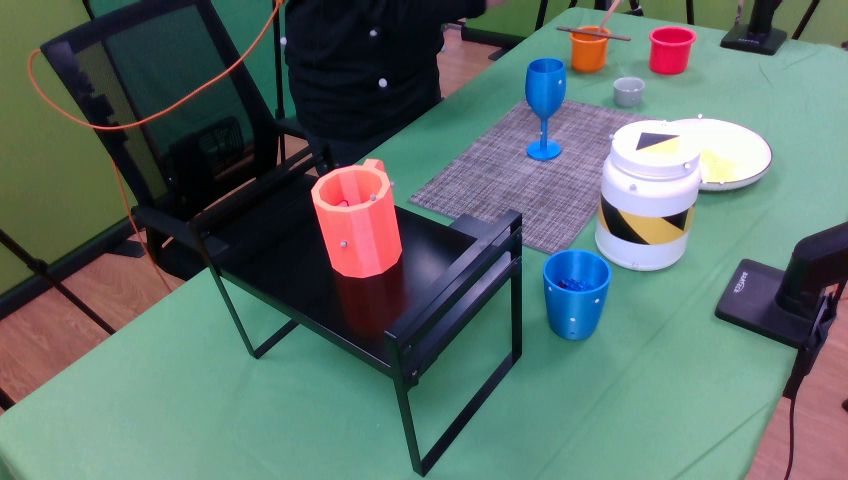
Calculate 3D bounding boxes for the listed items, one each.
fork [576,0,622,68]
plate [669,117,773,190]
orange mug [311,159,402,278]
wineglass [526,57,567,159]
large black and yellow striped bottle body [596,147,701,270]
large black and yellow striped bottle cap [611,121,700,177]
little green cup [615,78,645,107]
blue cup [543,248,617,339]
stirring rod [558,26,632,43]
[{"bbox_3d":[0.409,-0.484,1.381,0.028,0.019,0.207,37,101,46],"label":"fork"},{"bbox_3d":[0.495,-0.148,1.063,0.209,0.038,0.208,-5,40,4],"label":"plate"},{"bbox_3d":[-0.070,-0.034,0.694,0.083,0.101,0.126,5,46,16],"label":"orange mug"},{"bbox_3d":[0.221,-0.237,1.097,0.074,0.173,0.073,-5,41,4],"label":"wineglass"},{"bbox_3d":[0.323,-0.062,0.877,0.131,0.185,0.130,-5,40,4],"label":"large black and yellow striped bottle body"},{"bbox_3d":[0.315,-0.126,0.823,0.115,0.019,0.114,-4,42,4],"label":"large black and yellow striped bottle cap"},{"bbox_3d":[0.426,-0.306,1.257,0.061,0.039,0.061,-5,40,4],"label":"little green cup"},{"bbox_3d":[0.199,0.076,0.797,0.092,0.100,0.092,-4,39,4],"label":"blue cup"},{"bbox_3d":[0.381,-0.462,1.356,0.175,0.006,0.014,23,50,30],"label":"stirring rod"}]
